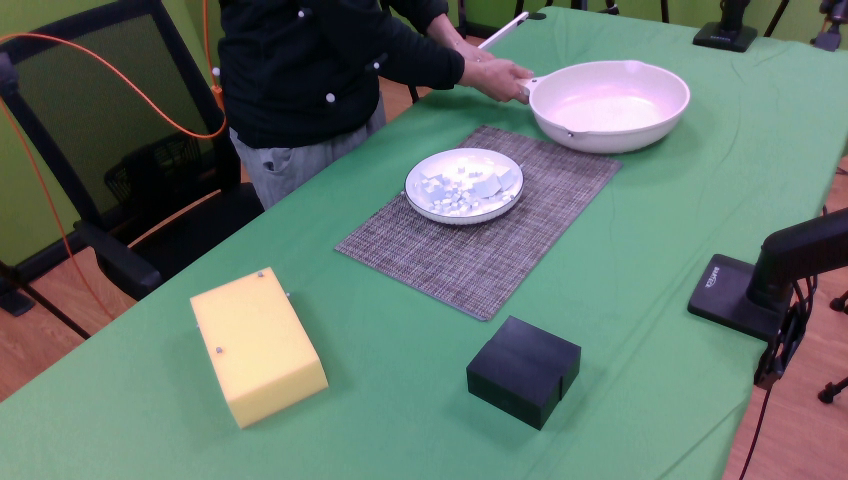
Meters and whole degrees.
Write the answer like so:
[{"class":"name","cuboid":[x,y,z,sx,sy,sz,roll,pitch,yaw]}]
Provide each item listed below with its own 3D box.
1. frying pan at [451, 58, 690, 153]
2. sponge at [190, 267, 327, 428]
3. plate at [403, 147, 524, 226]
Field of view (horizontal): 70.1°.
[{"class":"frying pan","cuboid":[0.266,-0.296,1.209,0.485,0.103,0.307,25,48,24]},{"class":"sponge","cuboid":[-0.226,0.135,0.814,0.119,0.061,0.205,-23,43,-19]},{"class":"plate","cuboid":[0.069,-0.089,1.044,0.207,0.039,0.206,-4,41,4]}]
